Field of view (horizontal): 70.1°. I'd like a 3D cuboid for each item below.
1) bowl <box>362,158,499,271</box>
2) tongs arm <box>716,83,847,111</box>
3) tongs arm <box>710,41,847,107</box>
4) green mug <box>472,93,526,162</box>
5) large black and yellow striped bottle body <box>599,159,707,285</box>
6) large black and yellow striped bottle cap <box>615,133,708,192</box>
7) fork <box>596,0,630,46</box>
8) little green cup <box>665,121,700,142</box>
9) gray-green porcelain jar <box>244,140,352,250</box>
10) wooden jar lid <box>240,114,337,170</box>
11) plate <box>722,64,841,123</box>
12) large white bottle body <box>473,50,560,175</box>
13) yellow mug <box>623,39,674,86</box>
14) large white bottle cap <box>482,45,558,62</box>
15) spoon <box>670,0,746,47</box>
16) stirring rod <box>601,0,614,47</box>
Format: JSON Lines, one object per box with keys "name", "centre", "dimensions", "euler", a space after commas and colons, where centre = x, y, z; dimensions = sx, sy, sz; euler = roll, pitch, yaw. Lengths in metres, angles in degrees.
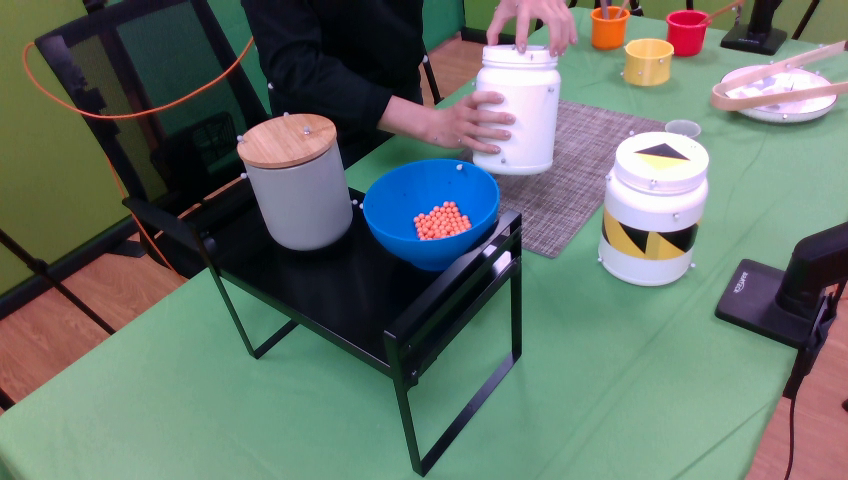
{"name": "bowl", "centre": [0.011, -0.019, 0.679], "dimensions": [0.151, 0.077, 0.150], "euler": [-5, 41, 5]}
{"name": "tongs arm", "centre": [0.738, -0.281, 1.134], "dimensions": [0.388, 0.028, 0.028], "euler": [-9, 47, -5]}
{"name": "tongs arm", "centre": [0.712, -0.332, 1.194], "dimensions": [0.386, 0.026, 0.050], "euler": [-19, 45, -16]}
{"name": "green mug", "centre": [0.143, -0.202, 1.122], "dimensions": [0.093, 0.105, 0.124], "euler": [-28, 45, -23]}
{"name": "large black and yellow striped bottle body", "centre": [0.320, -0.042, 0.854], "dimensions": [0.131, 0.185, 0.130], "euler": [-4, 41, 4]}
{"name": "large black and yellow striped bottle cap", "centre": [0.313, -0.105, 0.799], "dimensions": [0.115, 0.019, 0.114], "euler": [-5, 41, 5]}
{"name": "fork", "centre": [0.481, -0.556, 1.452], "dimensions": [0.028, 0.019, 0.207], "euler": [40, 103, 38]}
{"name": "little green cup", "centre": [0.473, -0.188, 1.113], "dimensions": [0.061, 0.039, 0.061], "euler": [-5, 40, 5]}
{"name": "gray-green porcelain jar", "centre": [-0.144, -0.060, 0.714], "dimensions": [0.106, 0.127, 0.105], "euler": [-4, 41, 4]}
{"name": "wooden jar lid", "centre": [-0.149, -0.106, 0.673], "dimensions": [0.108, 0.021, 0.108], "euler": [-6, 38, 5]}
{"name": "plate", "centre": [0.695, -0.283, 1.189], "dimensions": [0.207, 0.039, 0.206], "euler": [-4, 40, 4]}
{"name": "large white bottle body", "centre": [0.147, -0.208, 0.961], "dimensions": [0.131, 0.185, 0.130], "euler": [1, 22, 0]}
{"name": "yellow mug", "centre": [0.484, -0.398, 1.333], "dimensions": [0.100, 0.064, 0.130], "euler": [-18, 41, -11]}
{"name": "large white bottle cap", "centre": [0.147, -0.286, 0.929], "dimensions": [0.115, 0.018, 0.114], "euler": [1, 23, 0]}
{"name": "spoon", "centre": [0.629, -0.485, 1.350], "dimensions": [0.022, 0.193, 0.042], "euler": [47, 54, -7]}
{"name": "stirring rod", "centre": [0.440, -0.551, 1.463], "dimensions": [0.014, 0.006, 0.175], "euler": [-7, 83, 3]}
